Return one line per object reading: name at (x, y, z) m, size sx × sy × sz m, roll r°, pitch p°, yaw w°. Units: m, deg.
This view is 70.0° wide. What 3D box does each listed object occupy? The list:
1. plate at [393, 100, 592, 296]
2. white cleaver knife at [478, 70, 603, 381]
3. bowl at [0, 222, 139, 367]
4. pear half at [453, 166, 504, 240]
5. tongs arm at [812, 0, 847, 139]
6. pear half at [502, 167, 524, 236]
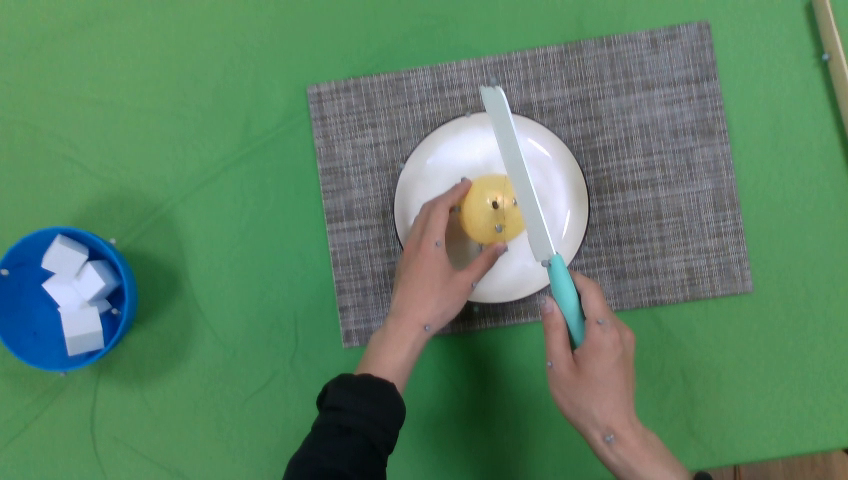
plate at (0.072, -0.044, 0.650) m, size 0.207 × 0.039 × 0.207 m, roll 0°, pitch 89°, yaw 3°
white cleaver knife at (0.102, -0.008, 0.525) m, size 0.021 × 0.065 × 0.287 m, roll -20°, pitch 101°, yaw -4°
bowl at (-0.371, 0.057, 0.656) m, size 0.151 × 0.077 × 0.151 m, roll 0°, pitch 89°, yaw 3°
pear half at (0.057, -0.039, 0.606) m, size 0.056 × 0.110 × 0.076 m, roll -4°, pitch 83°, yaw 3°
tongs arm at (0.471, -0.093, 0.638) m, size 0.028 × 0.028 × 0.387 m, roll -16°, pitch 89°, yaw 2°
pear half at (0.094, -0.040, 0.613) m, size 0.031 × 0.088 × 0.070 m, roll -6°, pitch 85°, yaw 6°
